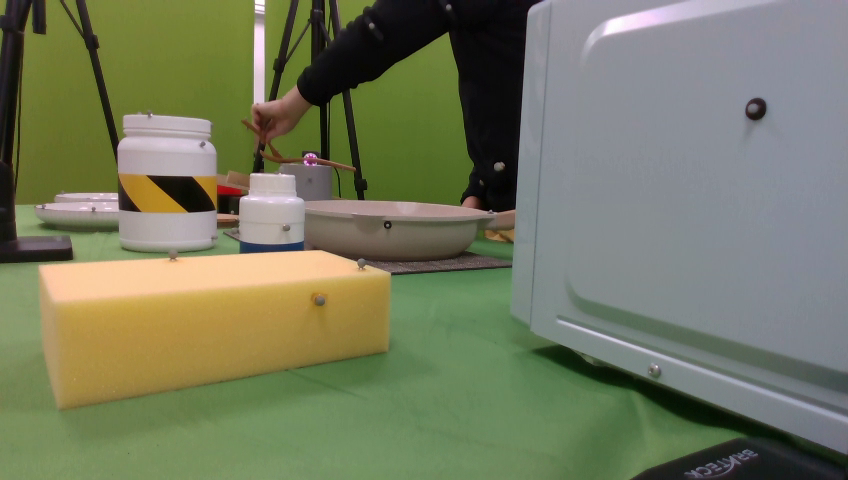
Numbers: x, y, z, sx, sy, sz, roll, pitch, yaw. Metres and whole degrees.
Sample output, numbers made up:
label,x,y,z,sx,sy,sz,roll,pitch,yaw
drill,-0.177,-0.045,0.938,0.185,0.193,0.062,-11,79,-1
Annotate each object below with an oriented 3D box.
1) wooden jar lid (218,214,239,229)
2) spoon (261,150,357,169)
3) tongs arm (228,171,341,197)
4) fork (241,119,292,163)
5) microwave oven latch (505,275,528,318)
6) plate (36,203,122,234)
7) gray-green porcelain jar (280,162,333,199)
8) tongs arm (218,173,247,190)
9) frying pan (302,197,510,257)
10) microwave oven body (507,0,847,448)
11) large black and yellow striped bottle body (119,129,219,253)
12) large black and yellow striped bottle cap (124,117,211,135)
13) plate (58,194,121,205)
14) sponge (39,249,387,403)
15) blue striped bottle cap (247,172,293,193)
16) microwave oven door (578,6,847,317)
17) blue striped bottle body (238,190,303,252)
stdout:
label,x,y,z,sx,sy,sz,roll,pitch,yaw
wooden jar lid,-0.404,-0.037,1.169,0.108,0.020,0.108,3,7,0
spoon,-0.231,-0.162,1.221,0.194,0.021,0.041,3,4,-16
tongs arm,-0.268,-0.103,1.378,0.387,0.026,0.050,11,-3,-40
fork,-0.359,-0.223,1.387,0.028,0.018,0.208,4,-21,19
microwave oven latch,0.100,0.041,0.472,0.079,0.029,0.030,-2,8,-29
plate,-0.571,-0.040,1.083,0.208,0.039,0.207,2,8,0
gray-green porcelain jar,-0.238,-0.092,1.221,0.106,0.126,0.106,2,7,0
tongs arm,-0.316,-0.111,1.448,0.389,0.027,0.028,11,-6,-26
frying pan,0.051,-0.035,0.915,0.487,0.102,0.307,-5,7,11
microwave oven body,0.331,-0.042,0.425,0.444,0.260,0.324,-2,8,-31
large black and yellow striped bottle body,-0.367,-0.079,0.876,0.131,0.184,0.130,2,7,0
large black and yellow striped bottle cap,-0.366,-0.163,0.866,0.115,0.019,0.115,3,7,0
plate,-0.671,-0.074,1.310,0.209,0.038,0.209,2,8,0
sponge,-0.142,0.047,0.419,0.208,0.061,0.117,-3,8,-36
blue striped bottle cap,-0.152,-0.057,0.598,0.044,0.020,0.044,3,7,0
microwave oven door,0.294,-0.067,0.570,0.358,0.243,0.039,-3,9,-31
blue striped bottle body,-0.153,-0.007,0.606,0.063,0.120,0.063,2,7,0
